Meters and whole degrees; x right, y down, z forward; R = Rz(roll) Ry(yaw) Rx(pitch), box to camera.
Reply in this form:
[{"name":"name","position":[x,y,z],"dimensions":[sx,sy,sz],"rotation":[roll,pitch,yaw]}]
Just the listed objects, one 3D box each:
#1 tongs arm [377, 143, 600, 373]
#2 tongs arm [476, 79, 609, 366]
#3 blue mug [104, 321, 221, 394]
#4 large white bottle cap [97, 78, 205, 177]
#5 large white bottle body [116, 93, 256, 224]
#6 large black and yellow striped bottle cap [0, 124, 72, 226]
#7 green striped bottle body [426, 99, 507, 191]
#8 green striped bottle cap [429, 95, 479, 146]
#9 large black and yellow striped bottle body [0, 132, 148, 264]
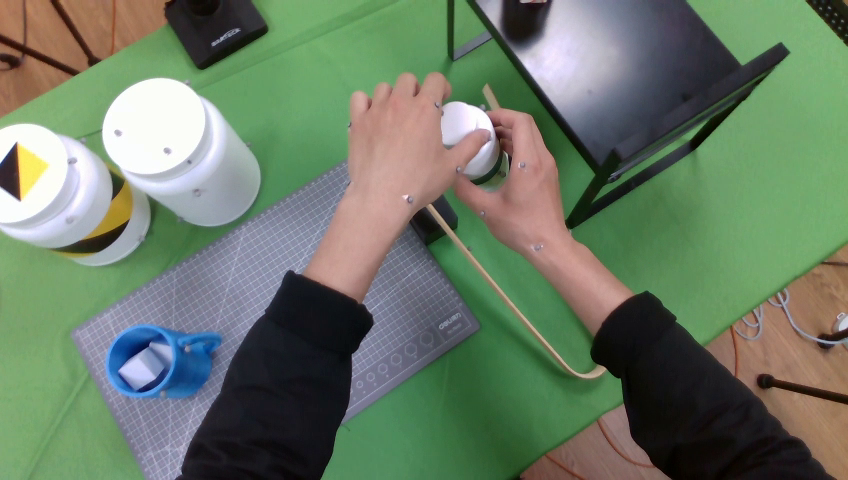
[{"name":"tongs arm","position":[0.080,0.020,0.753],"dimensions":[0.051,0.026,0.384],"rotation":[-38,90,-9]},{"name":"tongs arm","position":[0.148,-0.025,0.763],"dimensions":[0.028,0.028,0.387],"rotation":[-24,89,-12]},{"name":"blue mug","position":[-0.304,0.137,0.734],"dimensions":[0.116,0.106,0.082],"rotation":[-26,76,-5]},{"name":"large white bottle cap","position":[-0.302,-0.125,0.671],"dimensions":[0.115,0.018,0.114],"rotation":[0,76,1]},{"name":"large white bottle body","position":[-0.298,-0.104,0.753],"dimensions":[0.130,0.185,0.130],"rotation":[0,76,2]},{"name":"large black and yellow striped bottle cap","position":[-0.448,-0.072,0.664],"dimensions":[0.115,0.019,0.114],"rotation":[0,77,0]},{"name":"green striped bottle body","position":[0.042,-0.096,0.598],"dimensions":[0.063,0.120,0.063],"rotation":[-4,75,16]},{"name":"green striped bottle cap","position":[0.027,-0.109,0.549],"dimensions":[0.044,0.020,0.044],"rotation":[-4,77,17]},{"name":"large black and yellow striped bottle body","position":[-0.444,-0.051,0.744],"dimensions":[0.131,0.185,0.130],"rotation":[0,76,2]}]
